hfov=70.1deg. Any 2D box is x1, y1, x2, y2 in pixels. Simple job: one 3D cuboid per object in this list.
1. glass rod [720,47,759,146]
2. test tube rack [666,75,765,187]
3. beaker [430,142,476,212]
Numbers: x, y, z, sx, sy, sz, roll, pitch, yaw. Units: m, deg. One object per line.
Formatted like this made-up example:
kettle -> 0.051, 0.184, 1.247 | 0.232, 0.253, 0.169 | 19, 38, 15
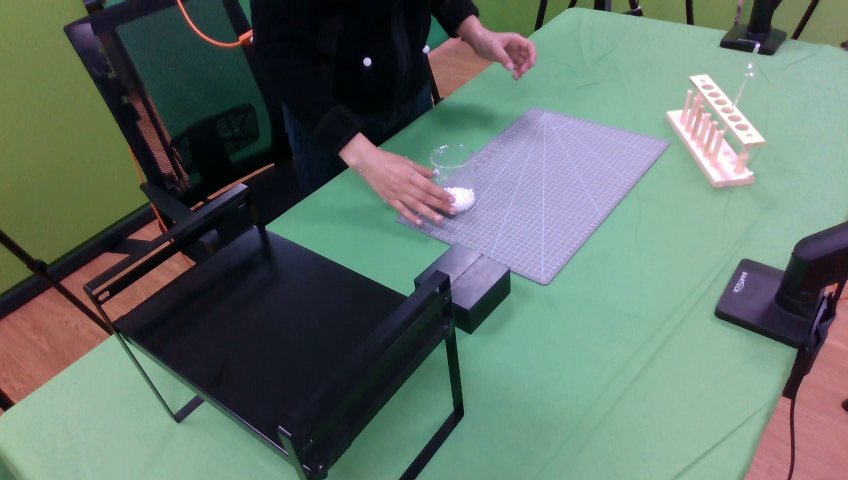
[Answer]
glass rod -> 0.526, -0.234, 1.018 | 0.008, 0.200, 0.008 | -2, 49, 3
test tube rack -> 0.512, -0.201, 1.082 | 0.067, 0.085, 0.241 | -6, 41, 2
beaker -> 0.050, -0.106, 1.026 | 0.074, 0.101, 0.083 | -27, 43, -21
